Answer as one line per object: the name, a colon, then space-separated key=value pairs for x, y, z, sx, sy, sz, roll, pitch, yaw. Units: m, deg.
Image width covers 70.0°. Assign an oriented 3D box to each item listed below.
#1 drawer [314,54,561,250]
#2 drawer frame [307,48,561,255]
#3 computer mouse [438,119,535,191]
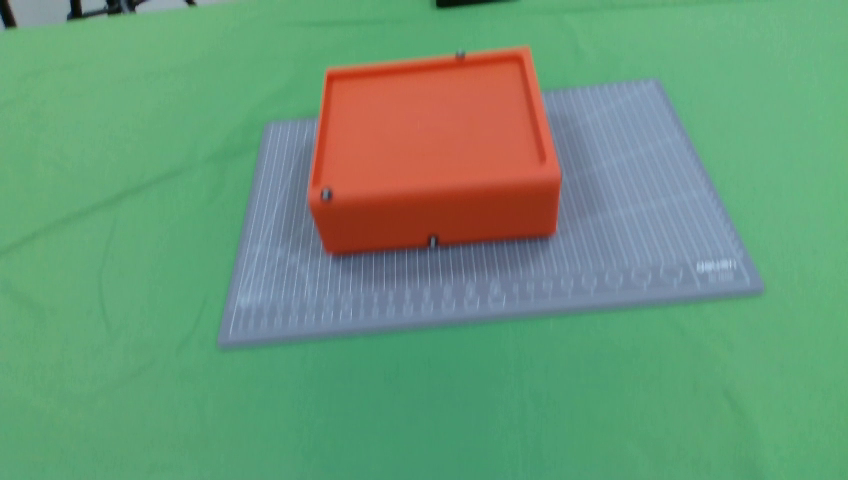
drawer: x=0.012 y=-0.088 z=0.583 sx=0.212 sy=0.074 sz=0.192 roll=-6 pitch=49 yaw=4
drawer frame: x=0.010 y=-0.088 z=0.581 sx=0.213 sy=0.083 sz=0.199 roll=-6 pitch=49 yaw=3
computer mouse: x=0.060 y=-0.088 z=0.579 sx=0.062 sy=0.041 sz=0.117 roll=2 pitch=33 yaw=31
